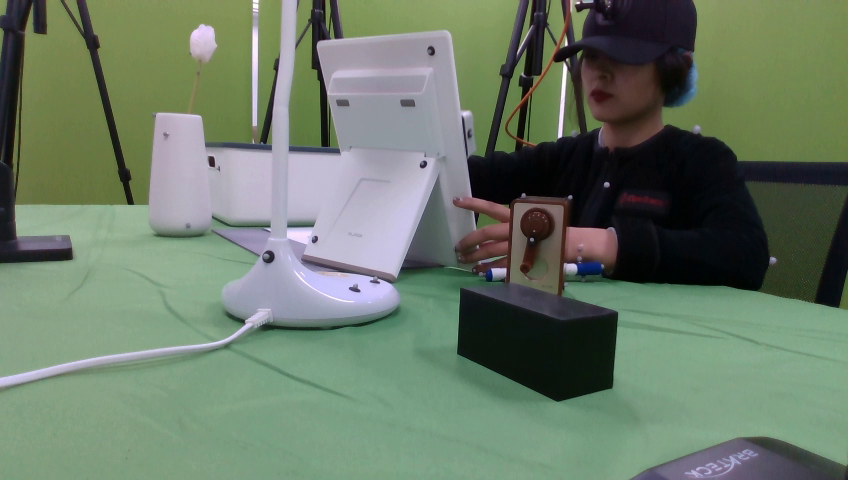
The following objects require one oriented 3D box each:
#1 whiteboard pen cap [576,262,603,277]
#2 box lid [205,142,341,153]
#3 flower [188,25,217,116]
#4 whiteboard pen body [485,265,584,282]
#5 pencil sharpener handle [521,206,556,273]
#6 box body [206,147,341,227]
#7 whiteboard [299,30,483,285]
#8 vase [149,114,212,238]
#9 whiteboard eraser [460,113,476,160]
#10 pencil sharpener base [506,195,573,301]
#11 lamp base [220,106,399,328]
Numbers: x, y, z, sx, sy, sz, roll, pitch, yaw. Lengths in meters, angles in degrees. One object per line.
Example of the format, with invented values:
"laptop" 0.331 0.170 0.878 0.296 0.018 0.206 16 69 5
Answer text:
"whiteboard pen cap" 0.203 0.036 0.749 0.033 0.018 0.018 -3 8 -7
"box lid" -0.270 -0.196 1.310 0.373 0.015 0.262 -2 9 -30
"flower" -0.394 -0.189 1.011 0.044 0.361 0.038 -1 -13 27
"whiteboard pen body" 0.144 0.040 0.737 0.141 0.017 0.017 -2 8 -9
"pencil sharpener handle" 0.111 0.000 0.613 0.036 0.067 0.031 13 10 14
"box body" -0.276 -0.122 1.320 0.366 0.160 0.253 -2 9 -30
"whiteboard" -0.073 -0.081 0.739 0.216 0.305 0.144 10 31 38
"vase" -0.405 -0.106 1.005 0.098 0.200 0.098 2 6 0
"whiteboard eraser" 0.010 -0.133 0.762 0.112 0.055 0.042 14 35 37
"pencil sharpener base" 0.127 0.007 0.663 0.061 0.107 0.077 5 8 15
"lamp base" -0.102 -0.023 0.531 0.160 0.180 0.179 4 10 10
